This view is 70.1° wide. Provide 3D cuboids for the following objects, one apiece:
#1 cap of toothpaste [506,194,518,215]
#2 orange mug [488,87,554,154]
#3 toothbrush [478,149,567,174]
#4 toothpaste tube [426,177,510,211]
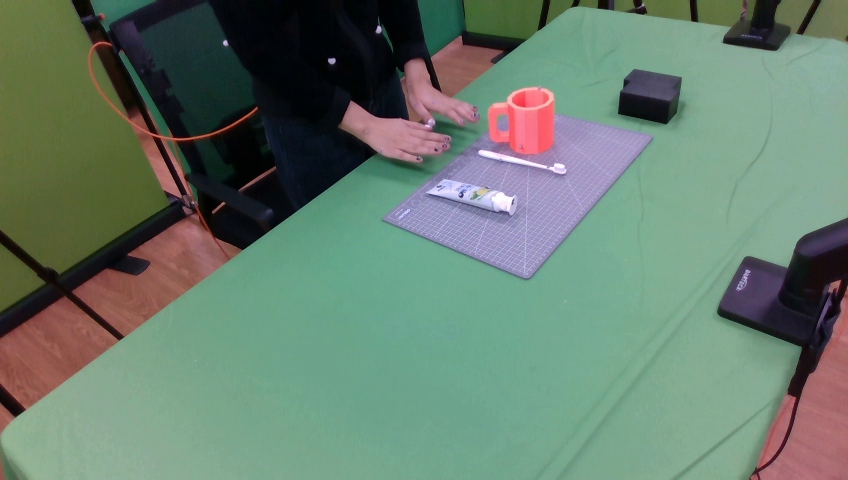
[{"bbox_3d":[0.146,-0.060,1.008,0.011,0.037,0.037,14,46,22],"label":"cap of toothpaste"},{"bbox_3d":[0.185,-0.227,1.151,0.126,0.101,0.083,1,41,5],"label":"orange mug"},{"bbox_3d":[0.179,-0.149,1.122,0.180,0.017,0.014,18,62,30],"label":"toothbrush"},{"bbox_3d":[0.083,-0.082,1.054,0.164,0.034,0.055,18,40,34],"label":"toothpaste tube"}]
